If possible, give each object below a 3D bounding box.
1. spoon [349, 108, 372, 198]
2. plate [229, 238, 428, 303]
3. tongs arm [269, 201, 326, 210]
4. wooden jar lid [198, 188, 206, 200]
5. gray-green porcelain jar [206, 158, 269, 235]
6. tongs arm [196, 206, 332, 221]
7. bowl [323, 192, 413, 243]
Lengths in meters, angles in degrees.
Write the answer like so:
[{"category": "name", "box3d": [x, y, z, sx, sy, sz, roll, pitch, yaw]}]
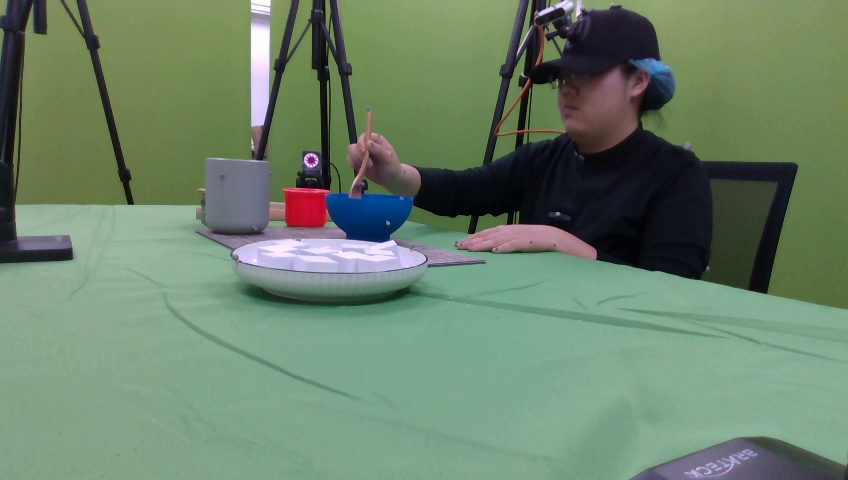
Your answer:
[{"category": "spoon", "box3d": [-0.105, -0.138, 1.043, 0.021, 0.193, 0.042, 5, -12, 22]}, {"category": "plate", "box3d": [-0.099, 0.032, 0.651, 0.209, 0.038, 0.209, 3, 8, 0]}, {"category": "tongs arm", "box3d": [-0.308, -0.073, 1.410, 0.386, 0.026, 0.050, 3, 8, -6]}, {"category": "wooden jar lid", "box3d": [-0.382, -0.088, 1.175, 0.108, 0.020, 0.108, 3, 8, 0]}, {"category": "gray-green porcelain jar", "box3d": [-0.322, -0.076, 1.048, 0.106, 0.126, 0.106, 3, 7, 0]}, {"category": "tongs arm", "box3d": [-0.294, -0.057, 1.330, 0.389, 0.028, 0.028, 0, 5, -20]}, {"category": "bowl", "box3d": [-0.094, -0.037, 1.015, 0.151, 0.077, 0.151, 2, 7, 0]}]
